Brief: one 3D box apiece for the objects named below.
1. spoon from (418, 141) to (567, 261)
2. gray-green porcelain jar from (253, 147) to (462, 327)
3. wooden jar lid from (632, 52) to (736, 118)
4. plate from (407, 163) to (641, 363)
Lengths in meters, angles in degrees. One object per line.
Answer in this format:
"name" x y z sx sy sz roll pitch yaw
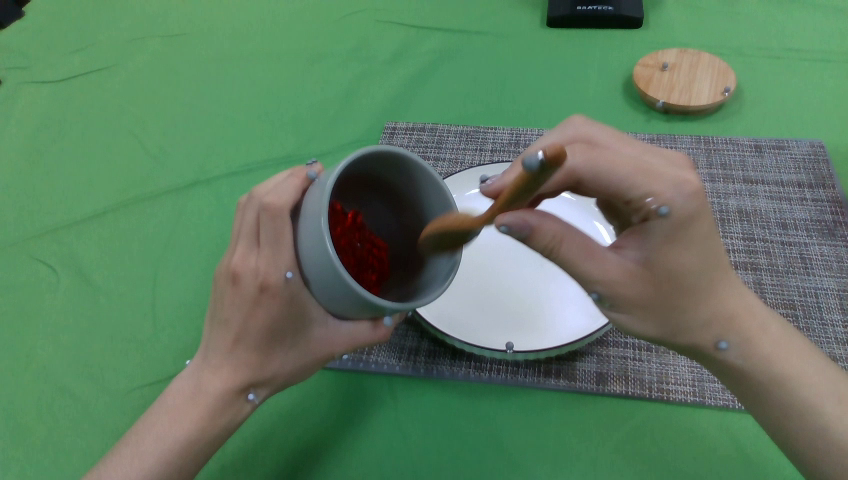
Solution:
"spoon" 0.031 -0.011 0.303 0.042 0.194 0.021 -7 83 -13
"gray-green porcelain jar" -0.052 0.005 0.422 0.126 0.106 0.105 -18 31 51
"wooden jar lid" 0.286 -0.171 0.672 0.108 0.021 0.107 -3 51 4
"plate" 0.074 0.018 0.517 0.207 0.039 0.205 -3 49 4
